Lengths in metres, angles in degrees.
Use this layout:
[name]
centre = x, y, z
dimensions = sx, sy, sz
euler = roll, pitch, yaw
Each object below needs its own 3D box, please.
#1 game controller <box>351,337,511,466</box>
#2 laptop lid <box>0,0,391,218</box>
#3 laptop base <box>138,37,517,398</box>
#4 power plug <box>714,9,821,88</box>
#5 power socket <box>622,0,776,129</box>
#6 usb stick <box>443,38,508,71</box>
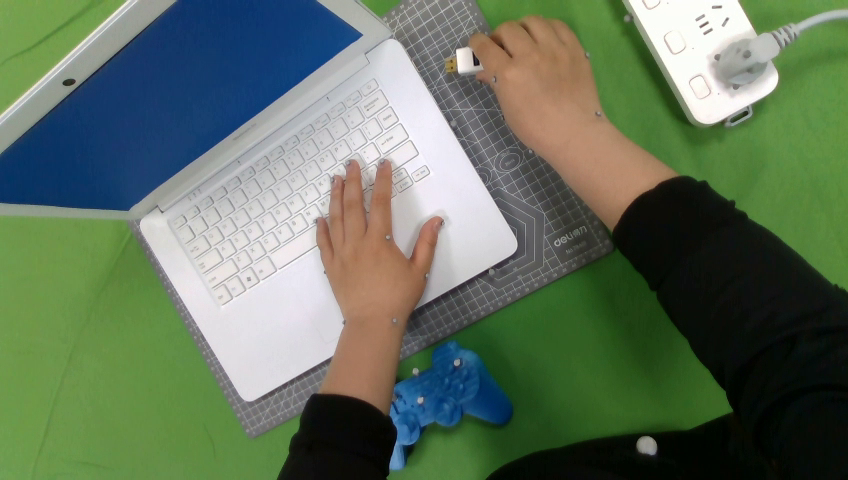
[game controller]
centre = -0.001, 0.163, 0.602
dimensions = 0.155, 0.052, 0.097
euler = -29, 85, 17
[laptop lid]
centre = -0.211, -0.112, 0.509
dimensions = 0.356, 0.242, 0.013
euler = -31, 80, 18
[laptop base]
centre = -0.111, -0.009, 0.620
dimensions = 0.354, 0.023, 0.235
euler = -31, 92, 17
[power plug]
centre = 0.265, -0.144, 0.471
dimensions = 0.072, 0.052, 0.035
euler = -17, 93, 13
[power socket]
centre = 0.208, -0.197, 0.498
dimensions = 0.072, 0.032, 0.226
euler = -27, 90, 18
[usb stick]
centre = 0.045, -0.164, 0.541
dimensions = 0.059, 0.027, 0.021
euler = -6, 103, 14
